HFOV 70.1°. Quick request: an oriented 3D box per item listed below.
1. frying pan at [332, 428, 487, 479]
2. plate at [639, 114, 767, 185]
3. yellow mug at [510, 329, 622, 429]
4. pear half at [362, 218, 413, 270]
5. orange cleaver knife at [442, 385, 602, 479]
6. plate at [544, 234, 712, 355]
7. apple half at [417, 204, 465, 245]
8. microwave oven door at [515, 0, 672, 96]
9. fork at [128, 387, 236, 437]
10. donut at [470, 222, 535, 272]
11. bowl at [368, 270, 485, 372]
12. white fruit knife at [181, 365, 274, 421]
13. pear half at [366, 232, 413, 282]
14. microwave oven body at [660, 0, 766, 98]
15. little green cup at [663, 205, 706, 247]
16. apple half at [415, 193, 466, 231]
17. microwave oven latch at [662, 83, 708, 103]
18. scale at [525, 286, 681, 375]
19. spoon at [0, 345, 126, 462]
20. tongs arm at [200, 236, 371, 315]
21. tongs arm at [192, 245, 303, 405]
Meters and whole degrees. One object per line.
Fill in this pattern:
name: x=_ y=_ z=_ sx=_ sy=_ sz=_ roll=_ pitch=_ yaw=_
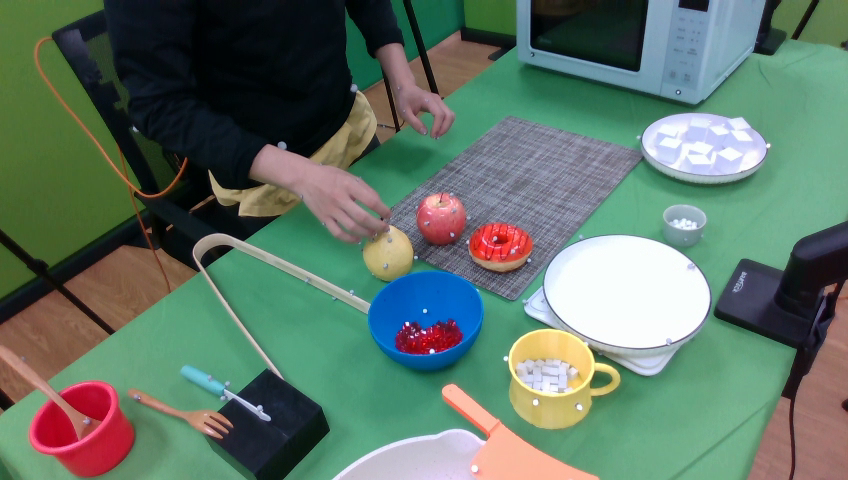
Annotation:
frying pan: x=-0.089 y=0.306 z=0.564 sx=0.487 sy=0.103 sz=0.306 roll=10 pitch=41 yaw=7
plate: x=0.489 y=-0.157 z=1.074 sx=0.207 sy=0.039 sz=0.206 roll=-4 pitch=40 yaw=4
yellow mug: x=0.168 y=0.164 z=0.721 sx=0.130 sy=0.064 sz=0.099 roll=0 pitch=40 yaw=8
pear half: x=-0.059 y=0.002 z=0.913 sx=0.076 sy=0.110 sz=0.055 roll=-15 pitch=41 yaw=-12
orange cleaver knife: x=0.086 y=0.219 z=0.612 sx=0.209 sy=0.012 sz=0.077 roll=28 pitch=49 yaw=35
plate: x=0.262 y=0.072 z=0.792 sx=0.209 sy=0.038 sz=0.208 roll=-4 pitch=41 yaw=4
apple half: x=0.027 y=-0.018 z=0.944 sx=0.081 sy=0.081 sz=0.032 roll=-3 pitch=37 yaw=6
microwave oven door: x=0.343 y=-0.454 z=1.259 sx=0.353 sy=0.245 sz=0.039 roll=26 pitch=51 yaw=33
fork: x=-0.305 y=0.207 z=0.744 sx=0.206 sy=0.019 sz=0.028 roll=3 pitch=42 yaw=36
donut: x=0.119 y=0.009 z=0.923 sx=0.099 sy=0.048 sz=0.098 roll=-3 pitch=39 yaw=3
bowl: x=0.007 y=0.118 z=0.791 sx=0.151 sy=0.077 sz=0.150 roll=-5 pitch=40 yaw=4
white fruit knife: x=-0.246 y=0.188 z=0.747 sx=0.205 sy=0.027 sz=0.016 roll=9 pitch=41 yaw=40
pear half: x=-0.048 y=0.031 z=0.893 sx=0.071 sy=0.088 sz=0.031 roll=-16 pitch=40 yaw=-13
microwave oven body: x=0.472 y=-0.513 z=1.317 sx=0.438 sy=0.261 sz=0.327 roll=26 pitch=51 yaw=34
little green cup: x=0.396 y=-0.020 z=0.926 sx=0.061 sy=0.039 sz=0.061 roll=-4 pitch=40 yaw=4
apple half: x=0.028 y=-0.042 z=0.974 sx=0.081 sy=0.075 sz=0.053 roll=-5 pitch=37 yaw=8
microwave oven latch: x=0.517 y=-0.296 z=1.204 sx=0.078 sy=0.029 sz=0.030 roll=28 pitch=52 yaw=35
scale: x=0.254 y=0.091 z=0.821 sx=0.199 sy=0.032 sz=0.149 roll=27 pitch=51 yaw=35
spoon: x=-0.434 y=0.192 z=0.720 sx=0.194 sy=0.021 sz=0.042 roll=47 pitch=53 yaw=-7
tongs arm: x=-0.209 y=0.062 z=0.924 sx=0.381 sy=0.027 sz=0.051 roll=23 pitch=54 yaw=32
tongs arm: x=-0.268 y=0.111 z=0.883 sx=0.028 sy=0.028 sz=0.384 roll=-36 pitch=47 yaw=-18
